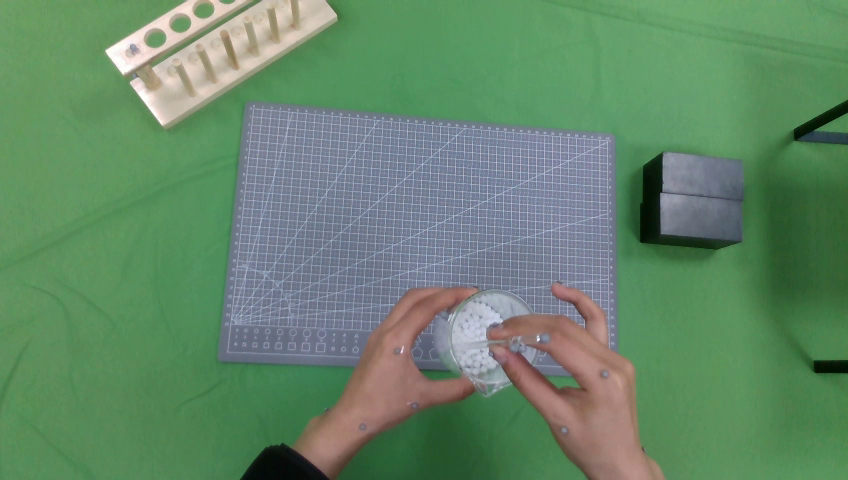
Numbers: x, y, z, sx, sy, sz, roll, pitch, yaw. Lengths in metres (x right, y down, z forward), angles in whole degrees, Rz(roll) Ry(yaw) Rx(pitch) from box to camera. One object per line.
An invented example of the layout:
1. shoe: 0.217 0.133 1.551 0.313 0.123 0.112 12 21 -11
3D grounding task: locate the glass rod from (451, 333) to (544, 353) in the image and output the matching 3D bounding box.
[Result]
1. glass rod: 0.046 0.078 0.445 0.008 0.200 0.008 3 77 -12

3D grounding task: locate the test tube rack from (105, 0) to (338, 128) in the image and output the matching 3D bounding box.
1. test tube rack: -0.215 -0.232 0.679 0.242 0.085 0.066 -37 85 -12

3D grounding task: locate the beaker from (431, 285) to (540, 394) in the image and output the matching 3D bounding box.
1. beaker: 0.046 0.084 0.508 0.074 0.100 0.083 10 79 -6
